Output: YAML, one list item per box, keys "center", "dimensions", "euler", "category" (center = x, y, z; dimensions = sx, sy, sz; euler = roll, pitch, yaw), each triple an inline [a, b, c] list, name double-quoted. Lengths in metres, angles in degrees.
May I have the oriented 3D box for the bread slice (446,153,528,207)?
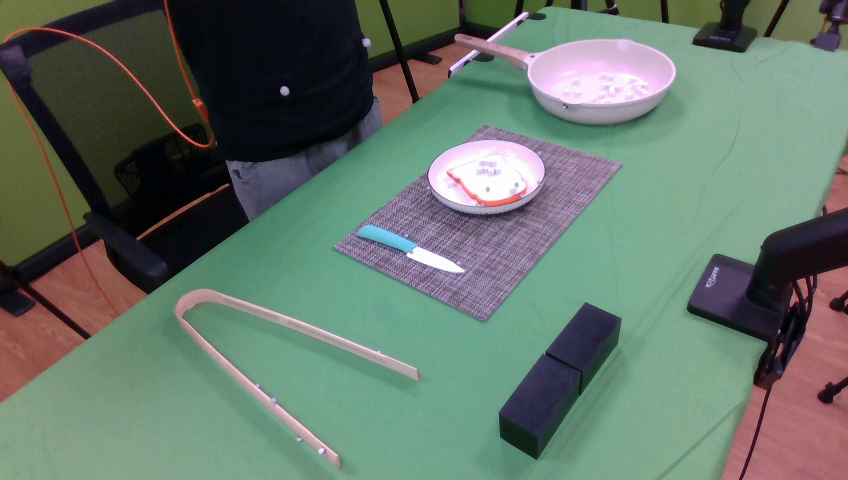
- center: [0.117, -0.104, 1.057]
  dimensions: [0.107, 0.018, 0.133]
  euler: [-24, 42, -18]
  category: "bread slice"

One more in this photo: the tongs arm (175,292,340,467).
- center: [-0.225, 0.169, 0.793]
  dimensions: [0.381, 0.026, 0.051]
  euler: [25, 50, 33]
  category: "tongs arm"

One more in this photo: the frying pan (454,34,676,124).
- center: [0.277, -0.370, 1.295]
  dimensions: [0.485, 0.103, 0.307]
  euler: [26, 49, 22]
  category: "frying pan"

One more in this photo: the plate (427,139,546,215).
- center: [0.109, -0.106, 1.058]
  dimensions: [0.207, 0.039, 0.206]
  euler: [-4, 40, 4]
  category: "plate"

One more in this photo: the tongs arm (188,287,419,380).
- center: [-0.177, 0.126, 0.842]
  dimensions: [0.385, 0.028, 0.028]
  euler: [15, 48, 24]
  category: "tongs arm"

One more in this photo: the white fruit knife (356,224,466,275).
- center: [-0.021, 0.014, 0.955]
  dimensions: [0.206, 0.016, 0.027]
  euler: [22, 78, 28]
  category: "white fruit knife"
